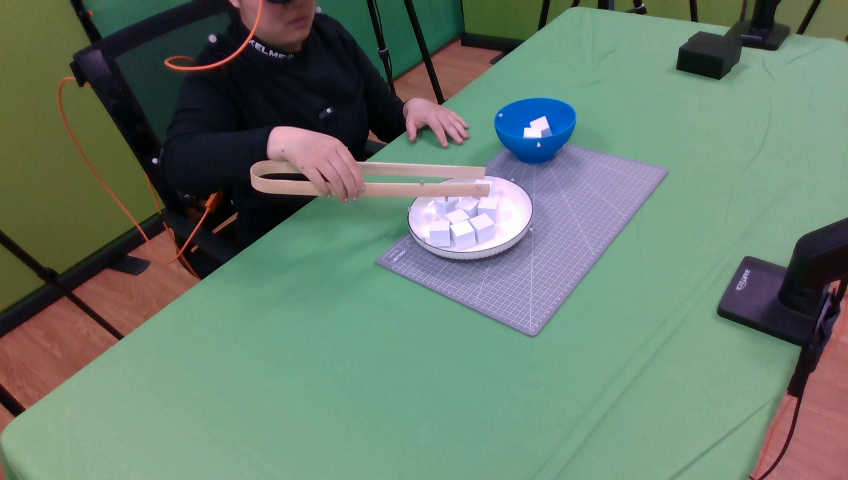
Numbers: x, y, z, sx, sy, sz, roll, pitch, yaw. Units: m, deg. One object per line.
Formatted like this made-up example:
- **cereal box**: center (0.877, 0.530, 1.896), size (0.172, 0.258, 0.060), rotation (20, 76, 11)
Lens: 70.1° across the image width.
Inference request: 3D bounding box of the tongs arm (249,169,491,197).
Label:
- **tongs arm**: center (-0.083, -0.092, 0.978), size (0.386, 0.026, 0.050), rotation (-2, 41, -13)

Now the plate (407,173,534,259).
- **plate**: center (0.076, -0.037, 0.997), size (0.207, 0.039, 0.206), rotation (-5, 40, 5)

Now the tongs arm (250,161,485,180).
- **tongs arm**: center (-0.087, -0.111, 1.002), size (0.389, 0.028, 0.028), rotation (0, 44, -11)

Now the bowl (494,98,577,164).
- **bowl**: center (0.207, -0.196, 1.128), size (0.151, 0.077, 0.150), rotation (-5, 40, 5)
